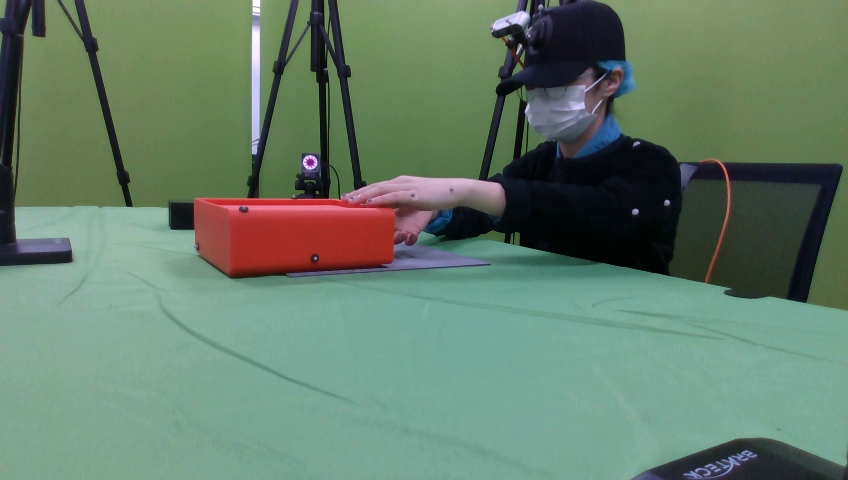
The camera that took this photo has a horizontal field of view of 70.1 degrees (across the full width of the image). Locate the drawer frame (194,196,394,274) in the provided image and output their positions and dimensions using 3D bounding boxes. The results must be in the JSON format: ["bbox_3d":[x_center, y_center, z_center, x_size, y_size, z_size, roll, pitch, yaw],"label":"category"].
[{"bbox_3d":[-0.178,-0.014,0.815,0.215,0.082,0.200,-4,9,-32],"label":"drawer frame"}]

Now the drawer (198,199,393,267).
[{"bbox_3d":[-0.177,-0.014,0.817,0.213,0.073,0.193,-3,9,-31],"label":"drawer"}]

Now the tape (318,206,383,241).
[{"bbox_3d":[-0.129,-0.030,1.075,0.117,0.052,0.117,3,8,0],"label":"tape"}]
